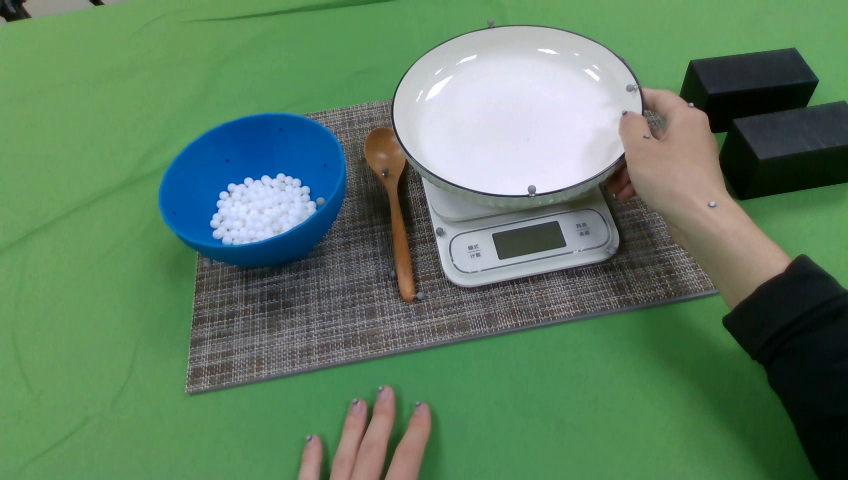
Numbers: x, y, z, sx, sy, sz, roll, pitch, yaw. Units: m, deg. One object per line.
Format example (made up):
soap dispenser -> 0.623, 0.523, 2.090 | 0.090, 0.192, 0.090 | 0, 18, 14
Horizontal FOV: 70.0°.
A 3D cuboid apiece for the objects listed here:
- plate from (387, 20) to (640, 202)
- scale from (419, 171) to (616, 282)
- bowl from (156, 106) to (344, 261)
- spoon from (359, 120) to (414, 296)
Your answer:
plate -> 0.073, -0.109, 0.514 | 0.209, 0.038, 0.207 | -2, 55, 4
scale -> 0.072, -0.060, 0.541 | 0.149, 0.032, 0.198 | -11, 53, -2
bowl -> -0.136, -0.035, 0.515 | 0.151, 0.077, 0.150 | -3, 53, 4
spoon -> -0.030, -0.035, 0.538 | 0.042, 0.022, 0.191 | -2, 52, -12
